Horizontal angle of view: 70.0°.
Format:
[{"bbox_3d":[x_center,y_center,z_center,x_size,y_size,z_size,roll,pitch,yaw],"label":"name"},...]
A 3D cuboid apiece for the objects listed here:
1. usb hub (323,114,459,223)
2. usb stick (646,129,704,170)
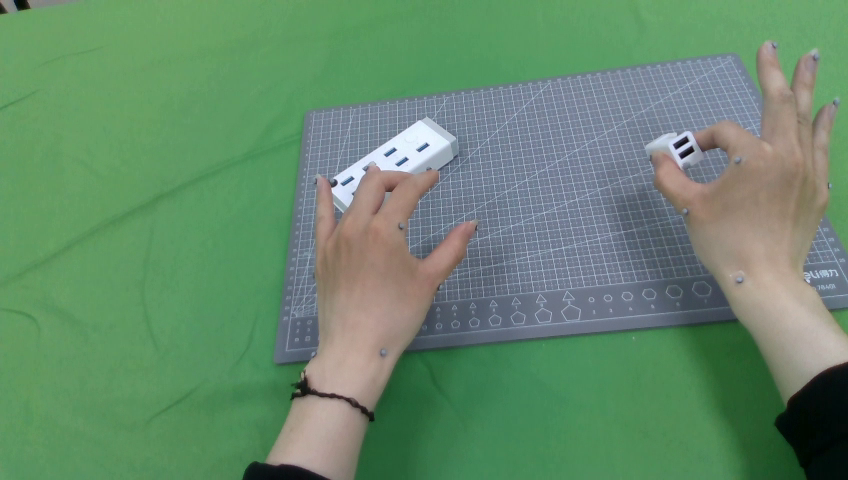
[{"bbox_3d":[-0.030,-0.070,0.568,0.125,0.025,0.049,-36,56,-17],"label":"usb hub"},{"bbox_3d":[0.198,-0.072,0.488,0.021,0.059,0.027,-34,93,2],"label":"usb stick"}]
